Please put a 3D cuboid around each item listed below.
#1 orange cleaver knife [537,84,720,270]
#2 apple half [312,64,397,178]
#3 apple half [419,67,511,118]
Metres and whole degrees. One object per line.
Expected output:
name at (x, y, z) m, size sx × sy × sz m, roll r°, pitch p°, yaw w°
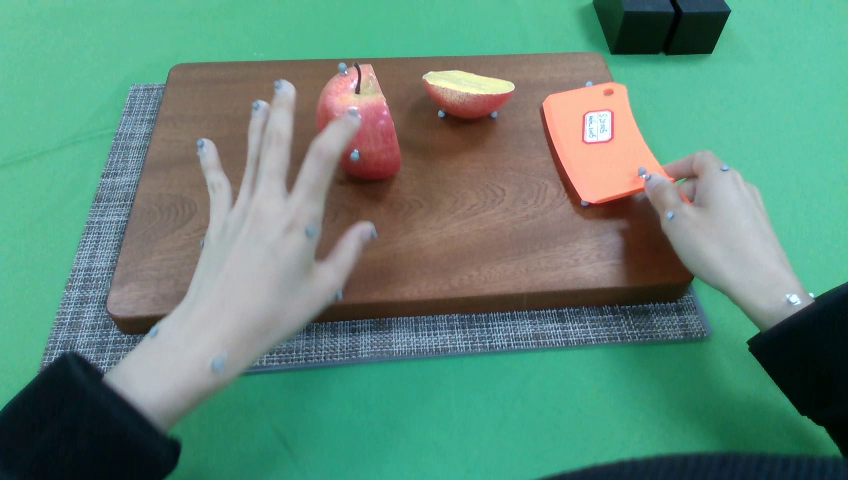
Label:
orange cleaver knife at (0.146, -0.055, 0.462) m, size 0.077 × 0.012 × 0.209 m, roll -19°, pitch 50°, yaw 3°
apple half at (-0.055, -0.084, 0.453) m, size 0.053 × 0.075 × 0.080 m, roll -17°, pitch 57°, yaw -6°
apple half at (0.030, -0.118, 0.502) m, size 0.081 × 0.033 × 0.080 m, roll 6°, pitch 28°, yaw -3°
